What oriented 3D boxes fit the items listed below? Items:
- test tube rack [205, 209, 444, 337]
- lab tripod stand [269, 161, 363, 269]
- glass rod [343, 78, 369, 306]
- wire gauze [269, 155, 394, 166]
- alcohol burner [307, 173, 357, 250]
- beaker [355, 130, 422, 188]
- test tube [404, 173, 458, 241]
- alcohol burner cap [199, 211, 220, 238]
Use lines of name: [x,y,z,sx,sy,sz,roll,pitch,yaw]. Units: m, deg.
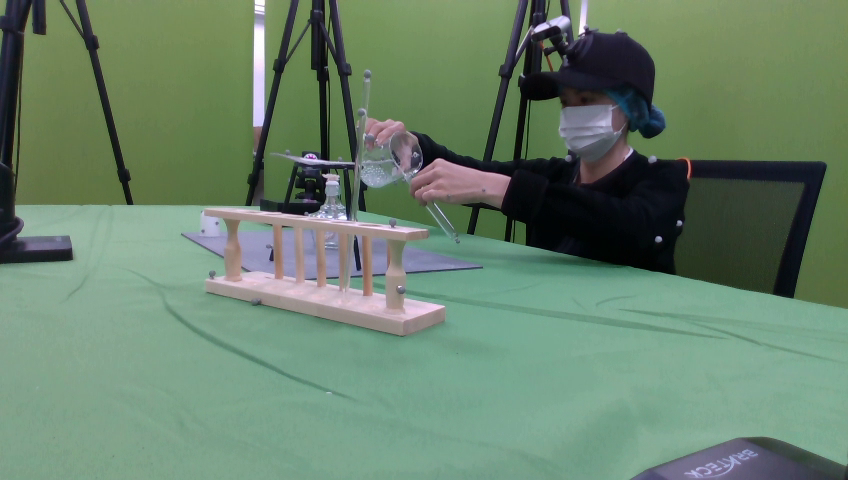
test tube rack: [-0.100,0.021,0.565,0.241,0.085,0.067,7,8,32]
lab tripod stand: [-0.125,-0.036,0.794,0.148,0.131,0.148,5,7,0]
glass rod: [-0.059,-0.038,0.522,0.008,0.199,0.008,6,5,0]
wire gauze: [-0.121,-0.102,0.785,0.122,0.011,0.124,-3,10,-39]
alcohol burner: [-0.144,-0.045,0.940,0.078,0.119,0.078,1,8,0]
beaker: [-0.063,-0.132,1.036,0.074,0.084,0.100,3,-15,-43]
test tube: [0.010,-0.054,0.962,0.017,0.017,0.149,-4,49,-44]
alcohol burner cap: [-0.356,-0.027,1.002,0.034,0.048,0.034,2,7,0]
